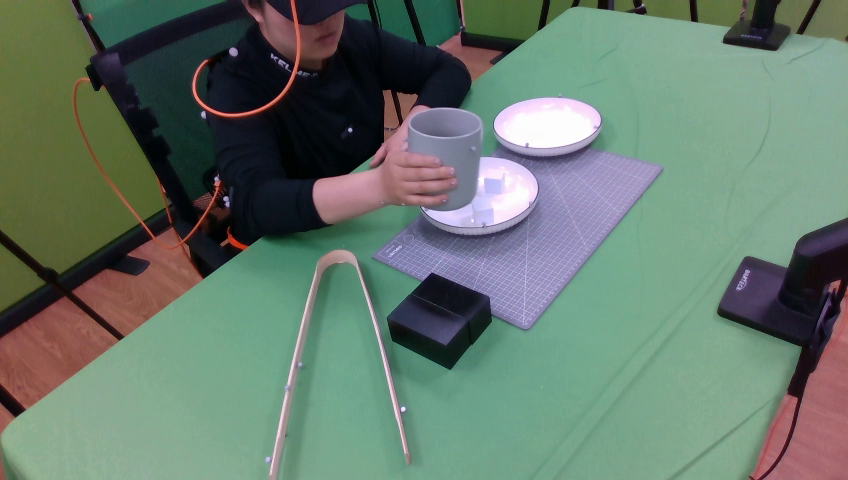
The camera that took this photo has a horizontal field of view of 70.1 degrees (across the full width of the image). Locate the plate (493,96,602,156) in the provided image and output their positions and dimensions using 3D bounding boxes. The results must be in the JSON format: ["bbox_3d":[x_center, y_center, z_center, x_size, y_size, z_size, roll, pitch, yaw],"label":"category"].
[{"bbox_3d":[0.238,-0.218,1.180,0.209,0.038,0.208,-4,39,4],"label":"plate"}]

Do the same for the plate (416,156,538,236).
[{"bbox_3d":[0.090,-0.072,1.034,0.207,0.039,0.206,-5,40,5],"label":"plate"}]

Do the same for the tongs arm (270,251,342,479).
[{"bbox_3d":[-0.152,0.148,0.826,0.051,0.026,0.382,-6,39,3],"label":"tongs arm"}]

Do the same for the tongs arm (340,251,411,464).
[{"bbox_3d":[-0.070,0.136,0.830,0.028,0.028,0.384,-18,40,-5],"label":"tongs arm"}]

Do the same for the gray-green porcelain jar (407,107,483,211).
[{"bbox_3d":[0.029,-0.114,0.874,0.106,0.127,0.105,1,35,0],"label":"gray-green porcelain jar"}]
